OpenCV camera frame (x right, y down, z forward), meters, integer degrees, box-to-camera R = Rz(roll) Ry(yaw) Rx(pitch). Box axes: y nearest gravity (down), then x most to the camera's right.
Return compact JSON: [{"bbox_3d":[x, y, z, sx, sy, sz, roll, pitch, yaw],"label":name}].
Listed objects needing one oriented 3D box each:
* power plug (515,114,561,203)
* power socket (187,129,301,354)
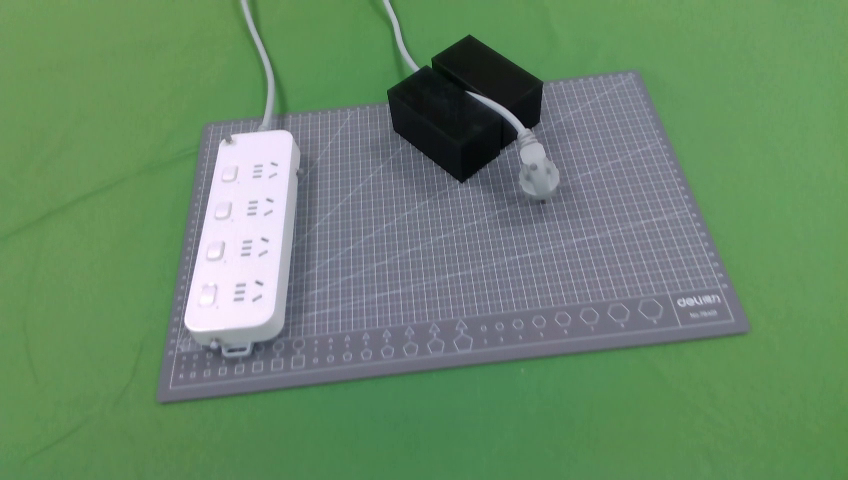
[{"bbox_3d":[0.100,-0.069,0.525,0.035,0.053,0.072,-4,64,14],"label":"power plug"},{"bbox_3d":[-0.151,-0.012,0.525,0.072,0.033,0.224,-4,55,2],"label":"power socket"}]
